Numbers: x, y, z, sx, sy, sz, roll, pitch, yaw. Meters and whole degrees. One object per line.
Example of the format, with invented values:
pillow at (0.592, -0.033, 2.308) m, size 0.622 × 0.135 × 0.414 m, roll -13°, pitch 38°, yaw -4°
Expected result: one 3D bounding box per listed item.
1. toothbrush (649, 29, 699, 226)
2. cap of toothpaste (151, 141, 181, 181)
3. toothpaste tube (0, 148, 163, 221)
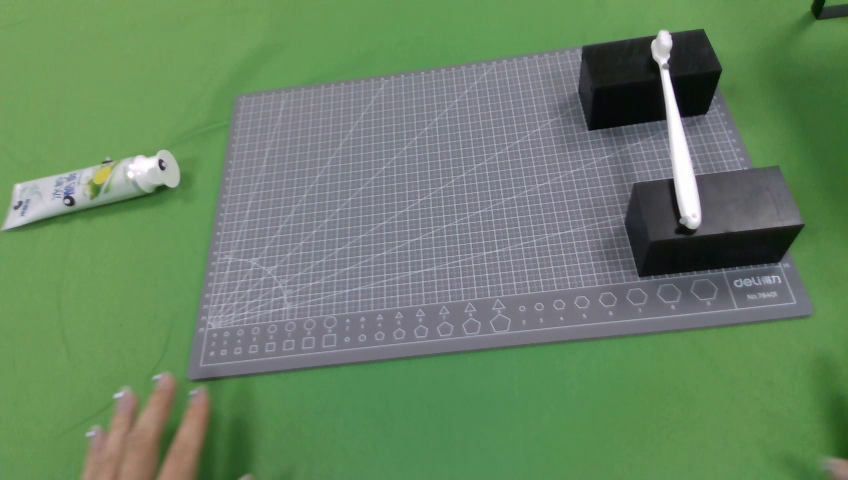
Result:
toothbrush at (0.184, -0.089, 0.444) m, size 0.014 × 0.017 × 0.180 m, roll 7°, pitch 60°, yaw -5°
cap of toothpaste at (-0.233, -0.071, 0.546) m, size 0.011 × 0.038 × 0.037 m, roll -11°, pitch 57°, yaw 7°
toothpaste tube at (-0.310, -0.057, 0.557) m, size 0.165 × 0.035 × 0.054 m, roll -12°, pitch 54°, yaw 6°
